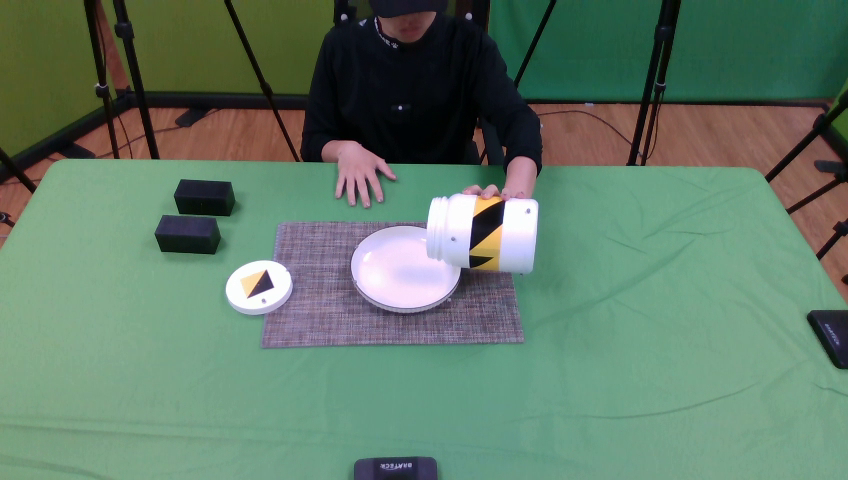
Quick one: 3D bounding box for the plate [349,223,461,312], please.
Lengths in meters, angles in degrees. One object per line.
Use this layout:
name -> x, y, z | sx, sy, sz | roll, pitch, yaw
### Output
plate -> -0.035, 0.054, 1.126 | 0.208, 0.039, 0.206 | 2, 46, -2

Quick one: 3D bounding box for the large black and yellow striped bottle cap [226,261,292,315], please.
large black and yellow striped bottle cap -> -0.298, 0.085, 1.092 | 0.115, 0.019, 0.114 | 0, 45, 1

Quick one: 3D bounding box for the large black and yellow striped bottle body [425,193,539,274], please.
large black and yellow striped bottle body -> 0.101, -0.014, 1.049 | 0.184, 0.131, 0.130 | 5, 46, 9
